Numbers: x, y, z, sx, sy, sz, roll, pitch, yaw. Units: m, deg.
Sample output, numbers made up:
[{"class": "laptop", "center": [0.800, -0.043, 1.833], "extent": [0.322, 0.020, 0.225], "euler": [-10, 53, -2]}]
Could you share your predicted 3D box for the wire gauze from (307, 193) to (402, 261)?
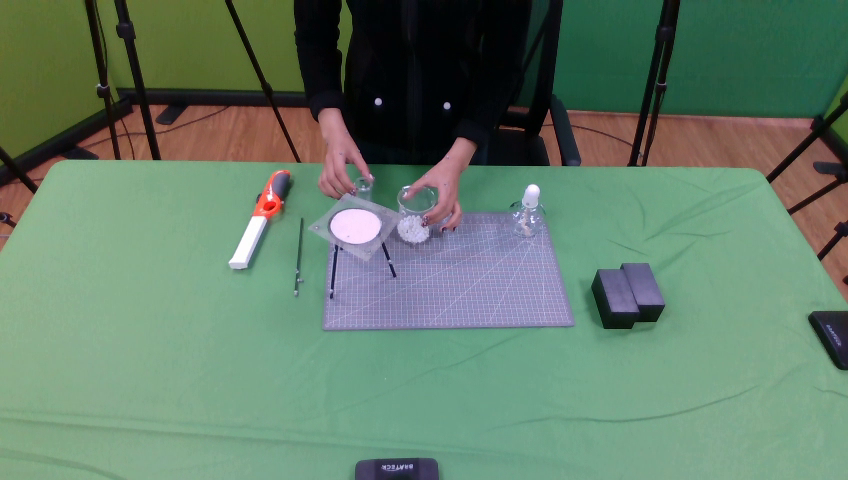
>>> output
[{"class": "wire gauze", "center": [-0.118, -0.028, 1.043], "extent": [0.125, 0.011, 0.121], "euler": [24, 47, 17]}]

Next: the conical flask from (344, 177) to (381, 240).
[{"class": "conical flask", "center": [-0.121, -0.065, 1.180], "extent": [0.075, 0.122, 0.075], "euler": [2, 46, -2]}]

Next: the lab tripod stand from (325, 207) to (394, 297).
[{"class": "lab tripod stand", "center": [-0.124, 0.017, 1.092], "extent": [0.148, 0.132, 0.147], "euler": [3, 44, -3]}]

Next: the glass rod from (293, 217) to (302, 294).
[{"class": "glass rod", "center": [-0.243, 0.025, 1.167], "extent": [0.008, 0.008, 0.198], "euler": [-2, 46, -5]}]

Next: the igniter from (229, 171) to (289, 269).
[{"class": "igniter", "center": [-0.328, -0.049, 1.218], "extent": [0.057, 0.025, 0.275], "euler": [1, 45, 11]}]

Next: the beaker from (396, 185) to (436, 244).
[{"class": "beaker", "center": [-0.021, -0.048, 1.186], "extent": [0.074, 0.101, 0.083], "euler": [-30, 57, -28]}]

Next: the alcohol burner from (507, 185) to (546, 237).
[{"class": "alcohol burner", "center": [0.208, -0.063, 1.210], "extent": [0.078, 0.119, 0.077], "euler": [3, 44, -3]}]

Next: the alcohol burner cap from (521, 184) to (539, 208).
[{"class": "alcohol burner cap", "center": [0.210, -0.087, 1.183], "extent": [0.034, 0.048, 0.033], "euler": [0, 52, 0]}]
